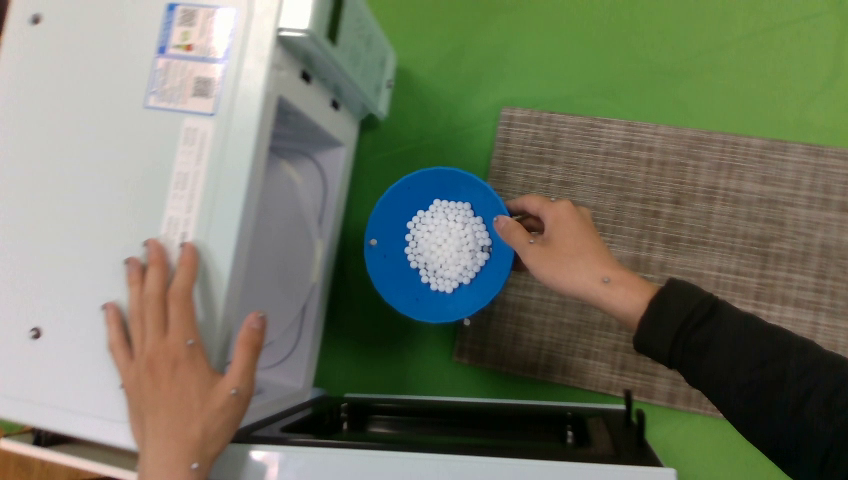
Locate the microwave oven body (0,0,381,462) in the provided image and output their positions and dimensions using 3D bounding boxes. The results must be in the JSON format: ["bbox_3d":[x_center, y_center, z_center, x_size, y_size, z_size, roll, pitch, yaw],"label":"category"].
[{"bbox_3d":[-0.252,-0.045,0.633,0.325,0.261,0.441,8,88,11],"label":"microwave oven body"}]

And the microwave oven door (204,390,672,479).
[{"bbox_3d":[0.022,0.179,0.557,0.355,0.245,0.039,-2,85,11],"label":"microwave oven door"}]

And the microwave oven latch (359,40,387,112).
[{"bbox_3d":[-0.063,-0.192,0.706,0.030,0.029,0.079,9,88,11],"label":"microwave oven latch"}]

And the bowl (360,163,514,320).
[{"bbox_3d":[0.021,0.004,0.607,0.151,0.077,0.151,-1,86,17],"label":"bowl"}]
